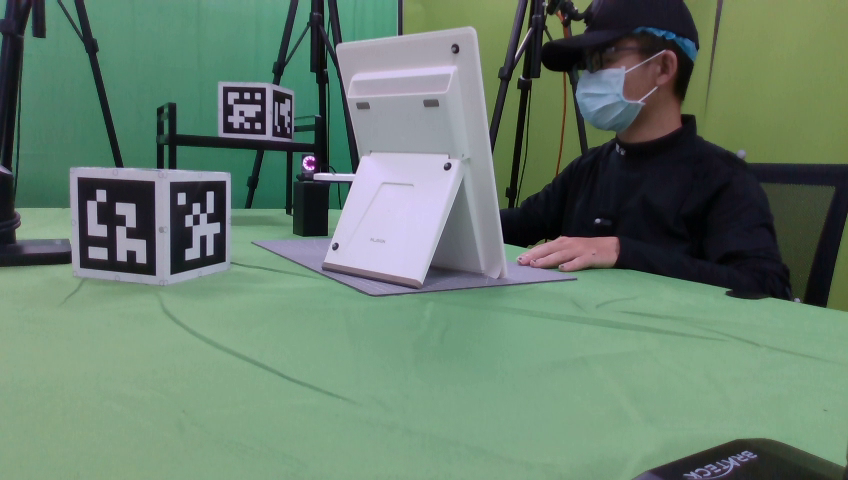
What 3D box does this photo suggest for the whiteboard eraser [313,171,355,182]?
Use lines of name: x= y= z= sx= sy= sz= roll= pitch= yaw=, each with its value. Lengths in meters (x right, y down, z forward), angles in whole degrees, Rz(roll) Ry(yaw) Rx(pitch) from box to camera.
whiteboard eraser: x=-0.166 y=-0.122 z=1.165 sx=0.102 sy=0.019 sz=0.041 roll=-2 pitch=7 yaw=-34

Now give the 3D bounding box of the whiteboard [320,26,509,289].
whiteboard: x=-0.046 y=-0.076 z=0.721 sx=0.216 sy=0.305 sz=0.144 roll=9 pitch=29 yaw=39
